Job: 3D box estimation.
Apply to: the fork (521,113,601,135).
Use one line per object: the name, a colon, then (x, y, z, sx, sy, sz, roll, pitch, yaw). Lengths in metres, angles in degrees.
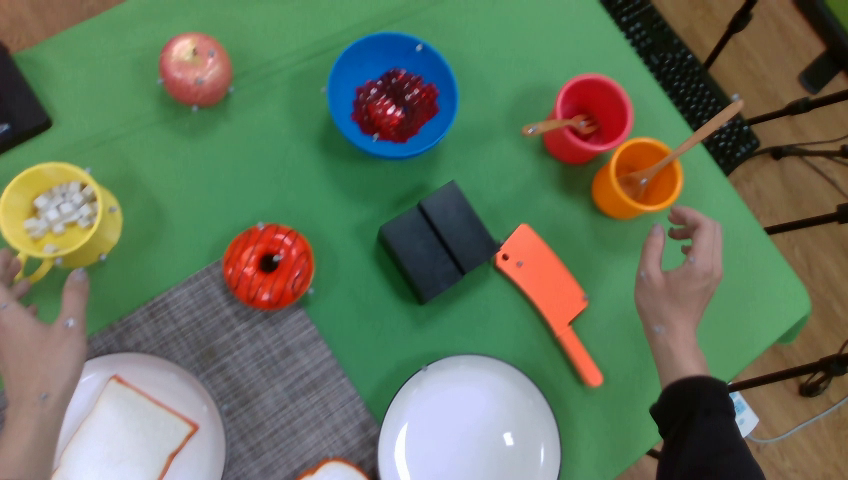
fork: (0.165, -0.136, 0.714, 0.208, 0.018, 0.028, -19, 79, -54)

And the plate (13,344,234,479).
plate: (-0.301, 0.213, 0.624, 0.208, 0.039, 0.206, 2, 79, -8)

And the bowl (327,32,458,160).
bowl: (-0.039, -0.159, 0.722, 0.152, 0.077, 0.150, 2, 79, -8)

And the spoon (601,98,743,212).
spoon: (0.295, -0.100, 0.726, 0.041, 0.194, 0.021, 53, 32, 7)

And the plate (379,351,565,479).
plate: (0.053, 0.229, 0.679, 0.209, 0.038, 0.208, 2, 79, -8)

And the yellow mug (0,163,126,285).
yellow mug: (-0.389, -0.011, 0.644, 0.100, 0.064, 0.130, 25, 77, -3)

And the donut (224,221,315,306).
donut: (-0.172, 0.026, 0.678, 0.099, 0.048, 0.098, 2, 79, -9)

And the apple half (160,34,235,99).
apple half: (-0.254, -0.204, 0.700, 0.081, 0.075, 0.053, 23, 70, 1)

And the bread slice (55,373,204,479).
bread slice: (-0.308, 0.219, 0.623, 0.105, 0.019, 0.131, 30, 75, -1)

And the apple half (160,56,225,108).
apple half: (-0.267, -0.169, 0.689, 0.081, 0.081, 0.032, 23, 71, -3)

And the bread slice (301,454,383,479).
bread slice: (-0.094, 0.289, 0.617, 0.107, 0.018, 0.134, 46, 56, 5)

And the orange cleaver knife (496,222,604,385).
orange cleaver knife: (0.165, 0.075, 0.738, 0.077, 0.012, 0.211, -32, 84, -20)
